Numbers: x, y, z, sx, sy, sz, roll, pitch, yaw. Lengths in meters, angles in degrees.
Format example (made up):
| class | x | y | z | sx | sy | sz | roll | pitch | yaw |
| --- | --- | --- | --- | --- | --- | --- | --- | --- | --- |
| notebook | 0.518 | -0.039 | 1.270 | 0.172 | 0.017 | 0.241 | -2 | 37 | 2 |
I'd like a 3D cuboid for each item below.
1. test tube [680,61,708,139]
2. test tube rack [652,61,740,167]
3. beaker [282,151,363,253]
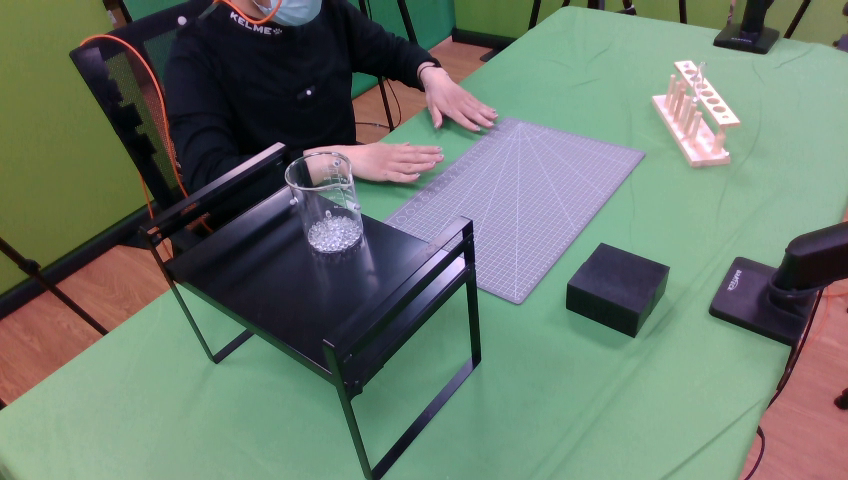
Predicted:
| class | x | y | z | sx | sy | sz | roll | pitch | yaw |
| --- | --- | --- | --- | --- | --- | --- | --- | --- | --- |
| test tube | 0.476 | -0.245 | 1.068 | 0.017 | 0.151 | 0.017 | -3 | 42 | 3 |
| test tube rack | 0.499 | -0.242 | 1.130 | 0.067 | 0.085 | 0.241 | -5 | 41 | 3 |
| beaker | -0.110 | -0.041 | 0.697 | 0.083 | 0.101 | 0.074 | 18 | 47 | 26 |
